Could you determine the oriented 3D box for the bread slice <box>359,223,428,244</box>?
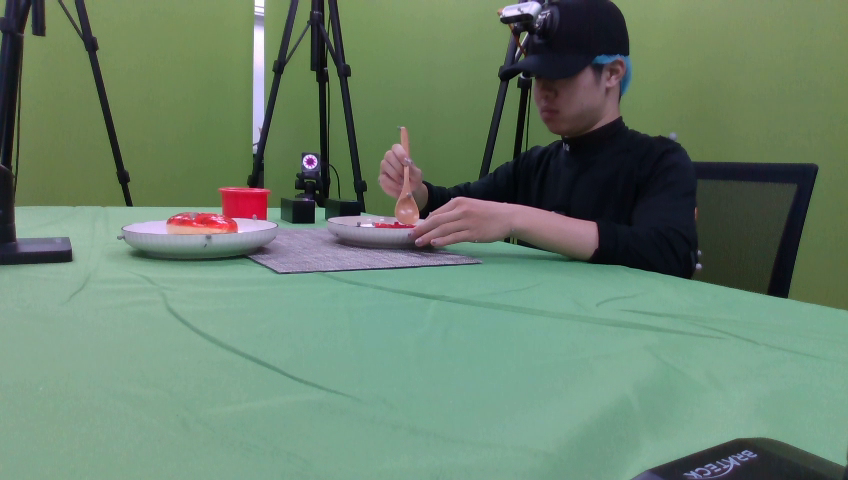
[{"bbox_3d":[-0.062,-0.011,1.035,0.105,0.019,0.131,0,11,-19],"label":"bread slice"}]

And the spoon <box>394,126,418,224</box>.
[{"bbox_3d":[-0.031,-0.112,1.022,0.042,0.193,0.021,3,-22,-10],"label":"spoon"}]

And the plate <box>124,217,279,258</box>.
[{"bbox_3d":[-0.315,-0.004,0.871,0.208,0.039,0.207,1,8,0],"label":"plate"}]

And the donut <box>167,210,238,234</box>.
[{"bbox_3d":[-0.321,-0.017,0.882,0.099,0.048,0.099,3,6,0],"label":"donut"}]

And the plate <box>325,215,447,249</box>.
[{"bbox_3d":[-0.066,-0.015,1.035,0.209,0.038,0.209,3,8,0],"label":"plate"}]
